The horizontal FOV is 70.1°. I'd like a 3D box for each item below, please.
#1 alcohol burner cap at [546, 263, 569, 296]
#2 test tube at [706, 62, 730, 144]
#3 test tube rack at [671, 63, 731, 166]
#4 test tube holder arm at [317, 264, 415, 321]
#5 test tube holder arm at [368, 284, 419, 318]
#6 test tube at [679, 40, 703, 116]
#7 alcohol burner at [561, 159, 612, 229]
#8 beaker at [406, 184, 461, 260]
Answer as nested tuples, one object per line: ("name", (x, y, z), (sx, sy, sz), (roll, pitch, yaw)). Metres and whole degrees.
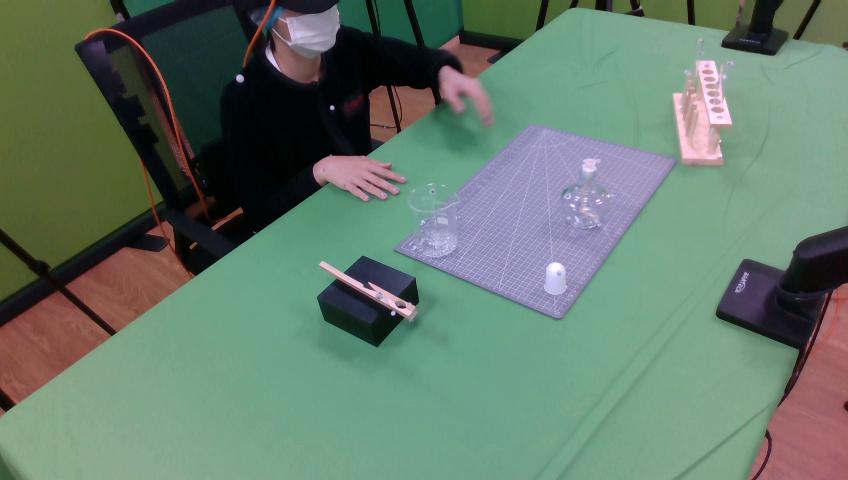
("alcohol burner cap", (0.191, 0.053, 0.862), (0.034, 0.048, 0.033), (-5, 40, 4))
("test tube", (0.507, -0.233, 1.046), (0.017, 0.151, 0.017), (-5, 36, 4))
("test tube rack", (0.513, -0.240, 1.132), (0.066, 0.085, 0.242), (4, 41, 14))
("test tube holder arm", (-0.083, 0.070, 0.833), (0.177, 0.015, 0.013), (22, 54, 30))
("test tube holder arm", (-0.044, 0.081, 0.813), (0.087, 0.015, 0.010), (23, 55, 31))
("test tube", (0.502, -0.303, 1.138), (0.017, 0.151, 0.017), (-3, 40, 3))
("alcohol burner", (0.257, -0.077, 0.951), (0.078, 0.119, 0.077), (-3, 40, 3))
("beaker", (0.019, -0.026, 0.939), (0.084, 0.101, 0.074), (1, 41, 9))
